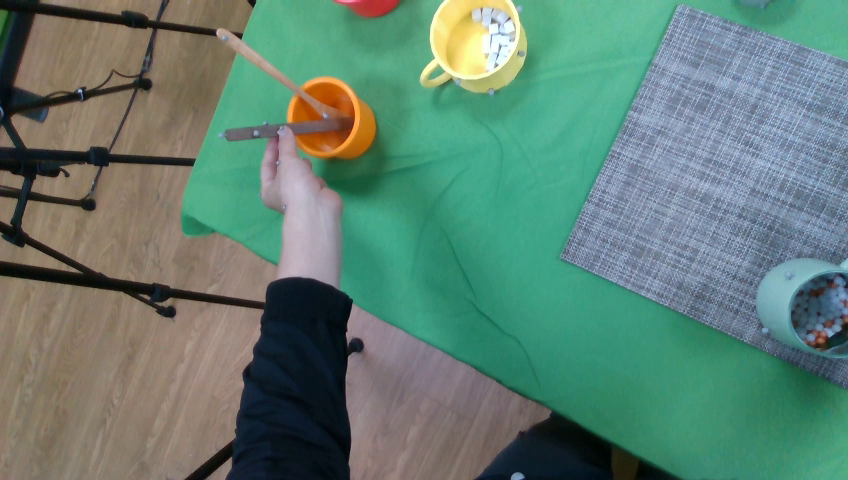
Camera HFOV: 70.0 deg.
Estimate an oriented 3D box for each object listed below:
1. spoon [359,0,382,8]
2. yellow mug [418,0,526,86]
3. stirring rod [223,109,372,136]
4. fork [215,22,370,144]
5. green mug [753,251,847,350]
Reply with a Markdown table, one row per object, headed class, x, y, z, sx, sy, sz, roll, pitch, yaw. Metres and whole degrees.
| class | x | y | z | sx | sy | sz | roll | pitch | yaw |
| --- | --- | --- | --- | --- | --- | --- | --- | --- | --- |
| spoon | -0.060 | -0.351 | 0.665 | 0.041 | 0.021 | 0.195 | 20 | 142 | 13 |
| yellow mug | 0.048 | -0.221 | 0.682 | 0.131 | 0.064 | 0.099 | -34 | 83 | 15 |
| stirring rod | -0.142 | -0.137 | 0.700 | 0.177 | 0.006 | 0.014 | -12 | 88 | -26 |
| fork | -0.146 | -0.177 | 0.693 | 0.209 | 0.018 | 0.028 | 34 | 99 | -32 |
| green mug | 0.384 | 0.045 | 0.573 | 0.092 | 0.105 | 0.125 | 43 | 101 | 11 |
